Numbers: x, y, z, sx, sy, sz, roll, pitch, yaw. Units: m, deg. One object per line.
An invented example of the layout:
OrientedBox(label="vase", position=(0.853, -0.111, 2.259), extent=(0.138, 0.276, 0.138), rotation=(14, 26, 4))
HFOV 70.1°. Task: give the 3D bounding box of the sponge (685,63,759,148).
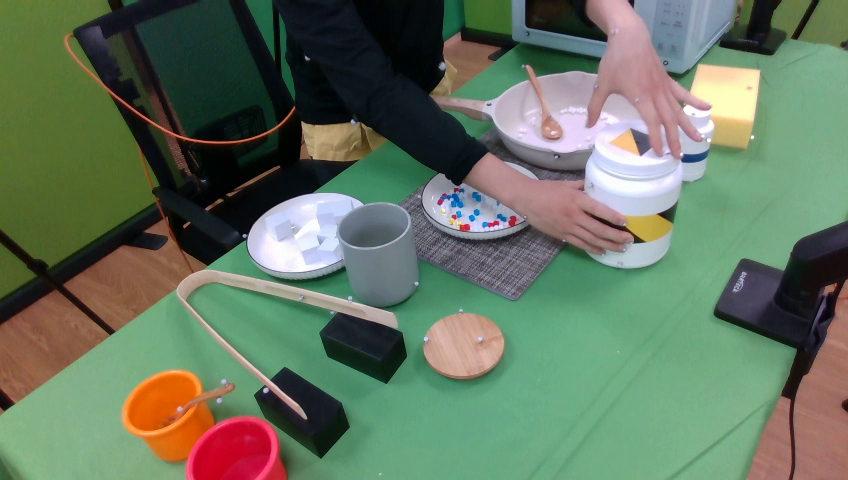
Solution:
OrientedBox(label="sponge", position=(0.569, -0.263, 1.164), extent=(0.117, 0.061, 0.207), rotation=(12, 45, 22))

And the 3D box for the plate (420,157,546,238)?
OrientedBox(label="plate", position=(0.100, -0.068, 1.017), extent=(0.209, 0.038, 0.208), rotation=(-4, 40, 4))

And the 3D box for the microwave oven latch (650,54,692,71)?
OrientedBox(label="microwave oven latch", position=(0.530, -0.386, 1.301), extent=(0.078, 0.029, 0.030), rotation=(24, 50, 32))

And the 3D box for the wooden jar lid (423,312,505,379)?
OrientedBox(label="wooden jar lid", position=(0.053, 0.142, 0.800), extent=(0.108, 0.021, 0.108), rotation=(-5, 39, 4))

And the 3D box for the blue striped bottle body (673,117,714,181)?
OrientedBox(label="blue striped bottle body", position=(0.449, -0.165, 1.022), extent=(0.063, 0.121, 0.063), rotation=(-4, 41, 4))

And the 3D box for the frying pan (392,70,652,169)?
OrientedBox(label="frying pan", position=(0.176, -0.248, 1.165), extent=(0.487, 0.103, 0.306), rotation=(12, 43, 9))

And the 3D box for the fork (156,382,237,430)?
OrientedBox(label="fork", position=(-0.262, 0.189, 0.690), extent=(0.018, 0.206, 0.028), rotation=(49, 43, -7))

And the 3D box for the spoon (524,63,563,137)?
OrientedBox(label="spoon", position=(0.234, -0.281, 1.203), extent=(0.041, 0.022, 0.192), rotation=(-13, 68, -1))

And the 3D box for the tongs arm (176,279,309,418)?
OrientedBox(label="tongs arm", position=(-0.255, 0.132, 0.801), extent=(0.028, 0.028, 0.384), rotation=(-41, 40, -23))

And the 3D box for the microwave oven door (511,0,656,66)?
OrientedBox(label="microwave oven door", position=(0.351, -0.540, 1.349), extent=(0.353, 0.245, 0.039), rotation=(24, 50, 31))

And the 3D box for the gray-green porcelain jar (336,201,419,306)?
OrientedBox(label="gray-green porcelain jar", position=(-0.064, 0.024, 0.872), extent=(0.106, 0.127, 0.105), rotation=(-4, 41, 4))

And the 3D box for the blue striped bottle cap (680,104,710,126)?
OrientedBox(label="blue striped bottle cap", position=(0.443, -0.205, 0.989), extent=(0.044, 0.021, 0.044), rotation=(-1, 41, 2))

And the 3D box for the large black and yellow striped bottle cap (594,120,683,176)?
OrientedBox(label="large black and yellow striped bottle cap", position=(0.291, -0.127, 0.823), extent=(0.115, 0.019, 0.114), rotation=(-5, 40, 5))

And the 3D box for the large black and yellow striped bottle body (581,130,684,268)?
OrientedBox(label="large black and yellow striped bottle body", position=(0.300, -0.065, 0.879), extent=(0.131, 0.185, 0.130), rotation=(-4, 41, 4))

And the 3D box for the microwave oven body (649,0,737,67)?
OrientedBox(label="microwave oven body", position=(0.475, -0.602, 1.411), extent=(0.438, 0.261, 0.327), rotation=(23, 50, 32))

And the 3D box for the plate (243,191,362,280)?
OrientedBox(label="plate", position=(-0.187, -0.005, 0.992), extent=(0.207, 0.039, 0.206), rotation=(-3, 41, 3))

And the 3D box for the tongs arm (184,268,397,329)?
OrientedBox(label="tongs arm", position=(-0.202, 0.084, 0.848), extent=(0.382, 0.027, 0.051), rotation=(11, 44, 35))
